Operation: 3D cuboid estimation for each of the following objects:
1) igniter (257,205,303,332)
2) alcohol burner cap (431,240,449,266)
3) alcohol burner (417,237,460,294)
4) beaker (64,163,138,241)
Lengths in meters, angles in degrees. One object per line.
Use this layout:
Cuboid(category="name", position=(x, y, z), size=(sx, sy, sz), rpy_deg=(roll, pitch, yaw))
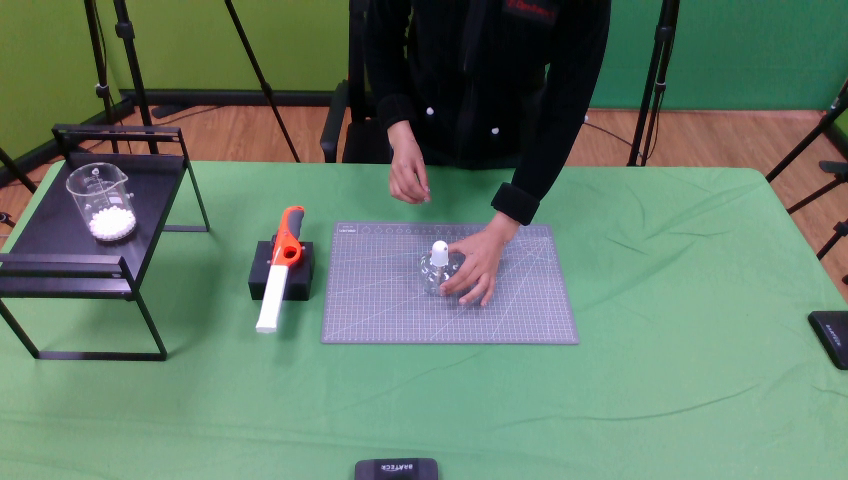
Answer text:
Cuboid(category="igniter", position=(-0.252, 0.040, 1.070), size=(0.057, 0.025, 0.275), rpy_deg=(3, 49, -2))
Cuboid(category="alcohol burner cap", position=(0.029, 0.020, 1.067), size=(0.034, 0.048, 0.033), rpy_deg=(0, 47, 1))
Cuboid(category="alcohol burner", position=(0.026, 0.042, 1.089), size=(0.078, 0.120, 0.077), rpy_deg=(0, 46, 0))
Cuboid(category="beaker", position=(-0.477, -0.055, 0.910), size=(0.084, 0.101, 0.073), rpy_deg=(-9, 48, -13))
